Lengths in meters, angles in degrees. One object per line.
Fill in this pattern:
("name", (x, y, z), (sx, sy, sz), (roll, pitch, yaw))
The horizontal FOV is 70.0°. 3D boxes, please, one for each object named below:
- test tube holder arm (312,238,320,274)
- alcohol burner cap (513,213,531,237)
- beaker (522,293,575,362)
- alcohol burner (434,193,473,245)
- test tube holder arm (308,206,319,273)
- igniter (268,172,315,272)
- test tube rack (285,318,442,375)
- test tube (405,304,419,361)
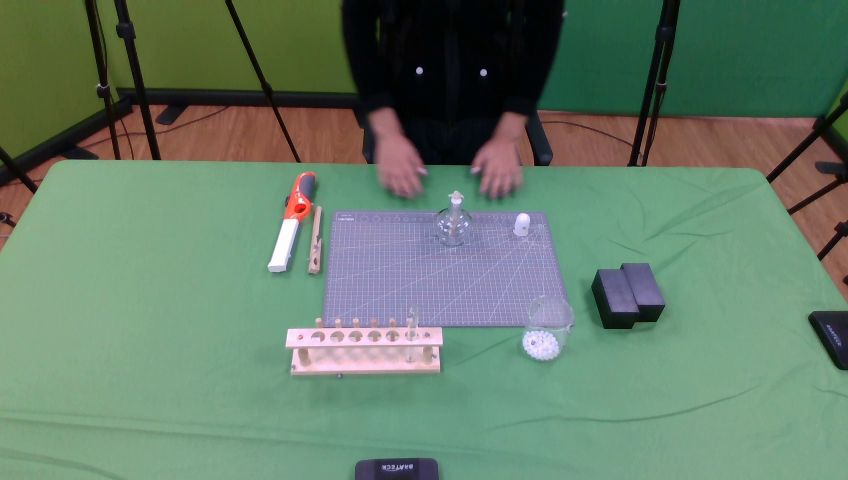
("test tube holder arm", (-0.207, 0.029, 1.160), (0.010, 0.015, 0.087), (25, 38, -29))
("alcohol burner cap", (0.200, -0.034, 1.227), (0.034, 0.048, 0.033), (1, 46, -1))
("beaker", (0.203, 0.151, 1.014), (0.084, 0.101, 0.073), (-28, 53, -26))
("alcohol burner", (0.059, -0.047, 1.180), (0.078, 0.120, 0.077), (1, 48, -1))
("test tube holder arm", (-0.216, -0.005, 1.189), (0.013, 0.015, 0.177), (24, 38, -29))
("igniter", (-0.264, -0.045, 1.219), (0.057, 0.025, 0.275), (-2, 46, 8))
("test tube rack", (-0.095, 0.168, 0.986), (0.242, 0.085, 0.066), (0, 46, -4))
("test tube", (-0.019, 0.147, 0.942), (0.017, 0.151, 0.017), (2, 50, -2))
